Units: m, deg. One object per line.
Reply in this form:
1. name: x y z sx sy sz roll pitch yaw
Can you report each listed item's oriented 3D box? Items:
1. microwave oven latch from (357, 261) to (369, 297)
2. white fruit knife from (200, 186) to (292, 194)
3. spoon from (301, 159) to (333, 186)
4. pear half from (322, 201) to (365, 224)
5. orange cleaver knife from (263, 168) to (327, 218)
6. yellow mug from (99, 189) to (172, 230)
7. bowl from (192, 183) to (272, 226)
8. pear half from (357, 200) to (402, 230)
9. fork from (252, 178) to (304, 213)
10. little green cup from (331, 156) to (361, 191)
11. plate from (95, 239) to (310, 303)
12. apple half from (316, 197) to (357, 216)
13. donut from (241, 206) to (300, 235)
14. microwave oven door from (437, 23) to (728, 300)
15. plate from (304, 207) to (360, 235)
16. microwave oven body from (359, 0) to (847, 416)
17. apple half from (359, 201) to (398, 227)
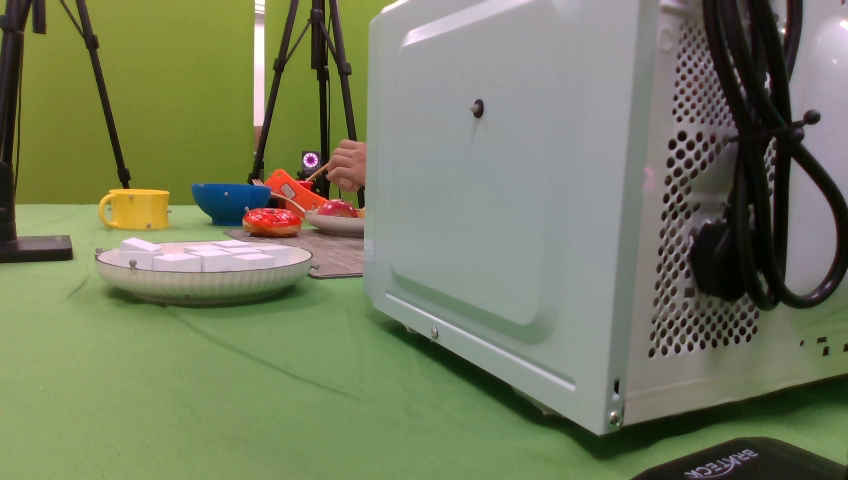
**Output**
1. microwave oven latch: -0.019 0.033 0.530 0.079 0.029 0.030 -1 7 -26
2. white fruit knife: -0.399 -0.111 1.368 0.208 0.016 0.027 -4 -19 -30
3. spoon: -0.316 -0.158 1.639 0.194 0.022 0.041 -49 32 -20
4. pear half: -0.157 -0.059 1.197 0.088 0.031 0.070 13 30 -4
5. orange cleaver knife: -0.262 -0.088 1.353 0.211 0.077 0.012 28 13 -1
6. yellow mug: -0.518 -0.055 1.080 0.099 0.064 0.131 6 9 26
7. bowl: -0.381 -0.071 1.202 0.151 0.077 0.151 3 7 0
8. pear half: -0.075 -0.046 1.133 0.076 0.056 0.110 12 7 31
9. fork: -0.295 -0.084 1.292 0.206 0.018 0.028 29 10 25
10. little green cup: -0.137 -0.118 1.093 0.061 0.038 0.061 16 -27 9
11. plate: -0.224 0.031 0.629 0.208 0.039 0.207 2 7 0
12. apple half: -0.161 -0.052 1.121 0.081 0.053 0.074 4 8 -14
13. donut: -0.263 -0.032 1.039 0.099 0.048 0.099 4 10 0
14. microwave oven door: 0.180 -0.072 0.621 0.358 0.243 0.039 -2 9 -29
15. plate: -0.123 -0.037 1.149 0.209 0.038 0.209 2 7 0
16. microwave oven body: 0.211 -0.047 0.474 0.444 0.260 0.324 -1 7 -28
17. apple half: -0.088 -0.058 1.190 0.081 0.033 0.081 10 29 -5
